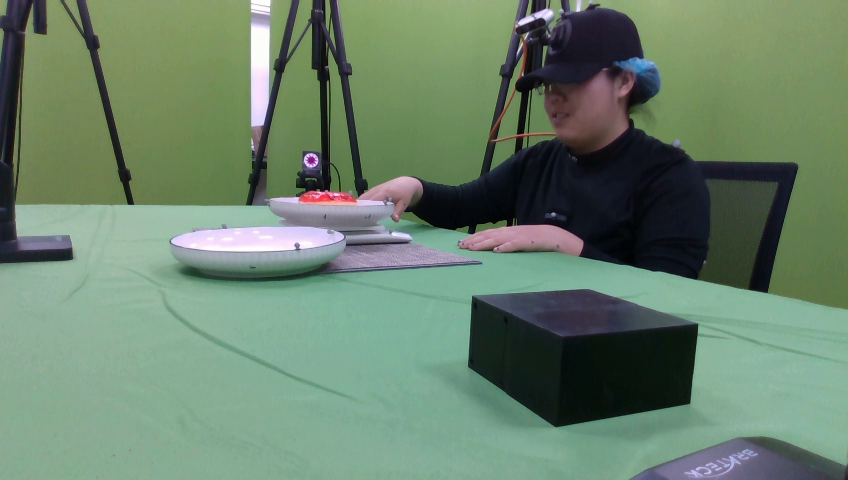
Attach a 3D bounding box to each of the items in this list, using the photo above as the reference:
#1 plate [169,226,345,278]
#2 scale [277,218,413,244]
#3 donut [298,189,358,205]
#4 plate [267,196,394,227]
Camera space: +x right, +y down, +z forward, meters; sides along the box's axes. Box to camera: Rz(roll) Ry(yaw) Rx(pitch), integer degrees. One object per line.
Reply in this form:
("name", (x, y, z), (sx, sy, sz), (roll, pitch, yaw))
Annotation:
("plate", (-0.202, 0.014, 0.748), (0.209, 0.038, 0.209), (1, 9, 0))
("scale", (-0.134, -0.016, 1.015), (0.202, 0.031, 0.148), (-1, 9, -33))
("donut", (-0.158, -0.059, 0.996), (0.099, 0.048, 0.099), (2, 4, 0))
("plate", (-0.152, -0.047, 0.998), (0.208, 0.039, 0.207), (2, 7, 0))
